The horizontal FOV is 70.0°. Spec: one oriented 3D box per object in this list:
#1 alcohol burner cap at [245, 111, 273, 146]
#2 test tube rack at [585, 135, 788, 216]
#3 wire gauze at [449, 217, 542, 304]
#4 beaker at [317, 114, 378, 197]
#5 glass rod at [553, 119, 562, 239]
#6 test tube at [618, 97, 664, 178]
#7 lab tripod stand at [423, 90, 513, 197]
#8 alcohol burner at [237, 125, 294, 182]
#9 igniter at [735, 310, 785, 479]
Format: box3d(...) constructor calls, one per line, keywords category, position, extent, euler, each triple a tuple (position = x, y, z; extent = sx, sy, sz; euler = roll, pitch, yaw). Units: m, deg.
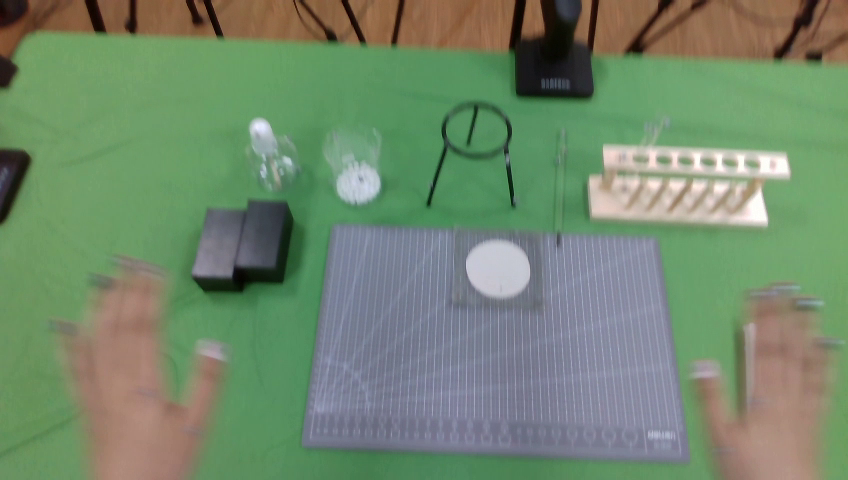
box3d(category="alcohol burner cap", position=(-0.216, -0.148, 0.788), extent=(0.034, 0.048, 0.033), euler=(2, 66, -4))
box3d(category="test tube rack", position=(0.351, -0.086, 0.822), extent=(0.242, 0.086, 0.066), euler=(2, 64, 1))
box3d(category="wire gauze", position=(0.095, 0.023, 0.806), extent=(0.125, 0.011, 0.120), euler=(3, 63, 2))
box3d(category="beaker", position=(-0.098, -0.112, 0.821), extent=(0.084, 0.101, 0.073), euler=(-34, 69, -17))
box3d(category="glass rod", position=(0.191, -0.091, 0.864), extent=(0.008, 0.008, 0.198), euler=(7, 65, 2))
box3d(category="test tube", position=(0.279, -0.129, 0.787), extent=(0.017, 0.151, 0.017), euler=(0, 60, 1))
box3d(category="lab tripod stand", position=(0.060, -0.126, 0.811), extent=(0.148, 0.132, 0.147), euler=(0, 63, 1))
box3d(category="alcohol burner", position=(-0.218, -0.131, 0.821), extent=(0.078, 0.120, 0.077), euler=(1, 62, -1))
box3d(category="igniter", position=(0.391, 0.214, 0.708), extent=(0.057, 0.025, 0.274), euler=(15, 64, -5))
